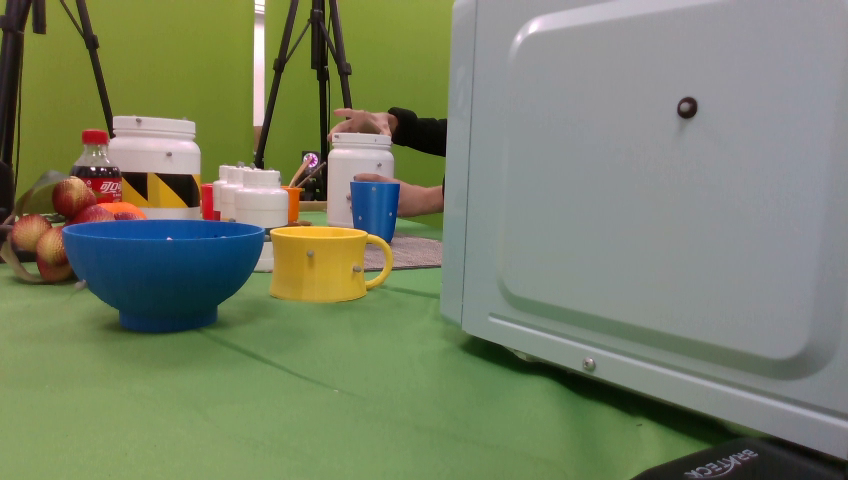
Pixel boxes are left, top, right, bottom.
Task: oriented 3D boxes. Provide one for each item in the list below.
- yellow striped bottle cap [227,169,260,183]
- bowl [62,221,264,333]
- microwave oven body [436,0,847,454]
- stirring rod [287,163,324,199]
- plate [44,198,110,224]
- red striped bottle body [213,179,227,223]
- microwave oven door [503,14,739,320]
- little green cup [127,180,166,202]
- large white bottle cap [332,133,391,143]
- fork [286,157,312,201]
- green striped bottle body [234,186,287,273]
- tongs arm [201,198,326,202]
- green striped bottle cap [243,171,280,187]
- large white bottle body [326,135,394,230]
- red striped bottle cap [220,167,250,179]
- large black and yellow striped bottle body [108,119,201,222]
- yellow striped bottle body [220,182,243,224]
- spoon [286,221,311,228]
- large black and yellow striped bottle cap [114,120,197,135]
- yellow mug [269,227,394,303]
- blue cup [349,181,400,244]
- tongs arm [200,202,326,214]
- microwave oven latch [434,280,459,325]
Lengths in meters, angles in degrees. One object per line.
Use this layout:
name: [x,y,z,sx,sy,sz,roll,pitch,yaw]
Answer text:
yellow striped bottle cap: [-0.243,-0.086,0.818,0.044,0.018,0.044,4,6,0]
bowl: [-0.209,0.029,0.496,0.151,0.077,0.151,2,7,0]
microwave oven body: [0.279,-0.040,0.465,0.444,0.260,0.324,-3,9,-41]
stirring rod: [-0.278,-0.105,1.293,0.176,0.006,0.014,-47,25,-18]
plate: [-0.617,-0.056,1.179,0.209,0.038,0.209,3,7,0]
red striped bottle body: [-0.284,-0.048,0.909,0.063,0.119,0.063,3,11,0]
microwave oven door: [0.218,-0.065,0.600,0.358,0.243,0.039,-4,10,-41]
little green cup: [-0.485,-0.087,1.062,0.061,0.038,0.061,0,7,0]
large white bottle cap: [-0.122,-0.197,1.178,0.115,0.018,0.115,3,8,0]
fork: [-0.289,-0.116,1.321,0.028,0.019,0.207,6,52,18]
green striped bottle body: [-0.200,-0.023,0.743,0.063,0.119,0.063,2,7,0]
tongs arm: [-0.433,-0.090,1.508,0.390,0.028,0.028,-1,2,-29]
green striped bottle cap: [-0.198,-0.074,0.736,0.044,0.020,0.044,1,7,0]
large white bottle body: [-0.126,-0.114,1.190,0.131,0.184,0.130,2,8,0]
red striped bottle cap: [-0.281,-0.099,0.901,0.044,0.017,0.044,-1,5,0]
large black and yellow striped bottle body: [-0.412,-0.088,0.930,0.131,0.184,0.130,3,7,0]
yellow striped bottle body: [-0.246,-0.036,0.825,0.063,0.120,0.063,3,8,0]
spoon: [-0.232,-0.027,1.116,0.041,0.021,0.193,-22,6,4]
large black and yellow striped bottle cap: [-0.407,-0.171,0.920,0.115,0.019,0.115,2,9,0]
yellow mug: [-0.094,0.023,0.629,0.131,0.064,0.099,0,6,-22]
blue cup: [-0.083,-0.046,1.012,0.093,0.100,0.092,2,6,0]
tongs arm: [-0.378,-0.079,1.440,0.387,0.026,0.050,-4,8,-44]
microwave oven latch: [0.044,0.045,0.470,0.079,0.029,0.030,-2,8,-39]
